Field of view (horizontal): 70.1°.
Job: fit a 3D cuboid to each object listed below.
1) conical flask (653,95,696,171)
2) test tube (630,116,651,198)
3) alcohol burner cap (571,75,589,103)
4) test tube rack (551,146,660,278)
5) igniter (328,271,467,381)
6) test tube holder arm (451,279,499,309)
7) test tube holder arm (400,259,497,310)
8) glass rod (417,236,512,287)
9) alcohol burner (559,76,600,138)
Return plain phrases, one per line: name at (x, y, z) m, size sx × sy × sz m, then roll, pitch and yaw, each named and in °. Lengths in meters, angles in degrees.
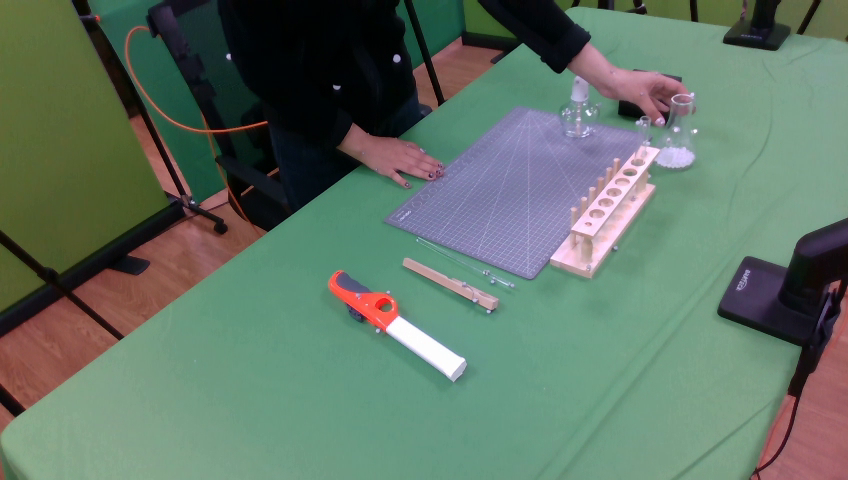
conical flask at (0.437, -0.187, 1.043) m, size 0.075 × 0.122 × 0.075 m, roll -6°, pitch 40°, yaw 5°
test tube at (0.336, -0.125, 0.941) m, size 0.017 × 0.151 × 0.017 m, roll -5°, pitch 43°, yaw 5°
alcohol burner cap at (0.294, -0.284, 1.132) m, size 0.034 × 0.048 × 0.033 m, roll -5°, pitch 46°, yaw 5°
test tube rack at (0.286, -0.053, 0.943) m, size 0.066 × 0.085 × 0.243 m, roll 21°, pitch 49°, yaw 32°
igniter at (-0.049, 0.114, 0.854) m, size 0.274 × 0.025 × 0.057 m, roll 29°, pitch 63°, yaw 37°
test tube holder arm at (0.071, 0.079, 0.882) m, size 0.087 × 0.015 × 0.010 m, roll 23°, pitch 13°, yaw 34°
test tube holder arm at (0.033, 0.064, 0.902) m, size 0.177 × 0.015 × 0.013 m, roll 23°, pitch 13°, yaw 32°
glass rod at (0.059, 0.032, 0.945) m, size 0.198 × 0.008 × 0.008 m, roll 27°, pitch 52°, yaw 38°
alcohol burner at (0.298, -0.258, 1.156) m, size 0.078 × 0.119 × 0.077 m, roll -4°, pitch 39°, yaw 4°
